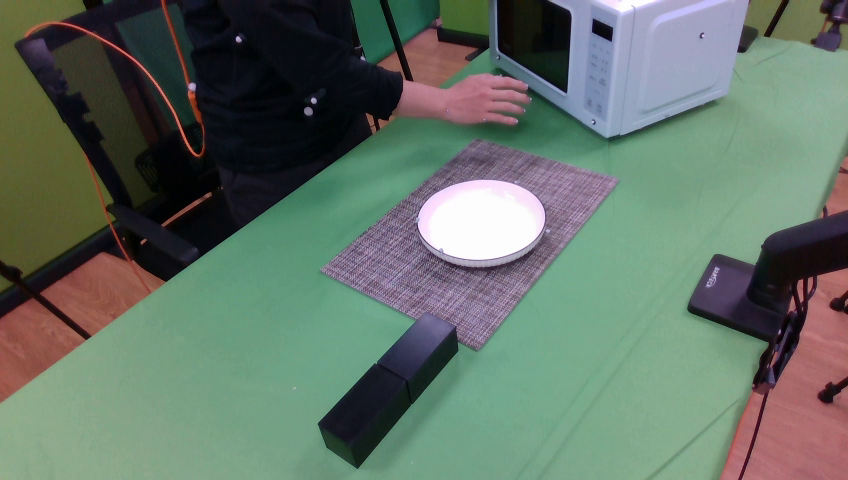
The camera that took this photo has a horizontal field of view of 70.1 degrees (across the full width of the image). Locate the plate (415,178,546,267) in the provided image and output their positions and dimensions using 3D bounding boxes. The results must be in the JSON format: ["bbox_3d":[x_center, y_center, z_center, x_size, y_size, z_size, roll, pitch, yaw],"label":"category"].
[{"bbox_3d":[0.091,-0.026,0.970,0.207,0.039,0.206,-4,41,4],"label":"plate"}]

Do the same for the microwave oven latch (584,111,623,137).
[{"bbox_3d":[0.337,-0.222,1.142,0.030,0.029,0.078,-21,42,-14],"label":"microwave oven latch"}]

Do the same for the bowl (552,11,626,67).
[{"bbox_3d":[0.343,-0.418,1.278,0.151,0.077,0.150,-1,41,1],"label":"bowl"}]

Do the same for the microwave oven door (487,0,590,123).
[{"bbox_3d":[0.232,-0.420,1.231,0.039,0.245,0.352,-22,43,-16],"label":"microwave oven door"}]

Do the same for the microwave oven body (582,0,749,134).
[{"bbox_3d":[0.382,-0.444,1.246,0.327,0.261,0.437,-22,42,-16],"label":"microwave oven body"}]
